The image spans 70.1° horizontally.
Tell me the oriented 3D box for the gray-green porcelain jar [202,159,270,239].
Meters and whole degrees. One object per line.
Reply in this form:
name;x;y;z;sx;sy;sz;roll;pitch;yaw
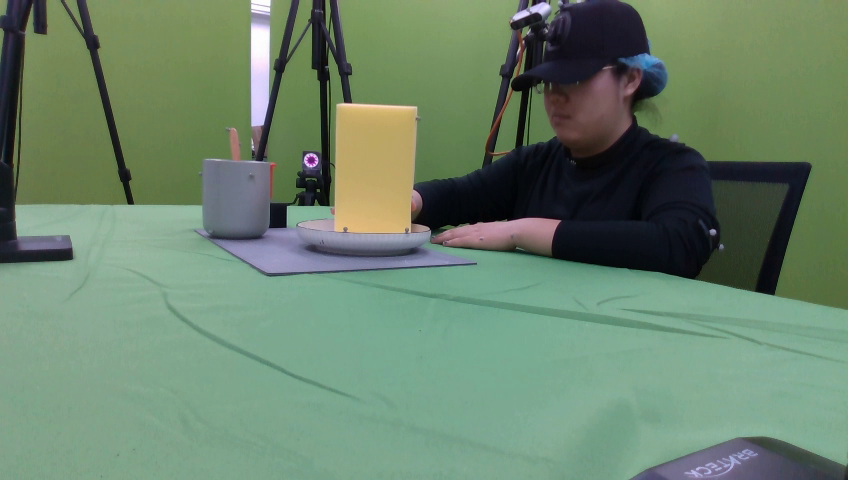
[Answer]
gray-green porcelain jar;-0.310;-0.068;0.999;0.106;0.126;0.106;3;8;0

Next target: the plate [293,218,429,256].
plate;-0.096;-0.005;0.936;0.208;0.039;0.207;3;7;0

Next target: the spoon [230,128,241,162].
spoon;-0.314;-0.109;1.025;0.042;0.193;0.021;-5;-19;-16

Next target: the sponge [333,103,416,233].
sponge;-0.077;-0.104;0.932;0.118;0.206;0.061;4;16;1
